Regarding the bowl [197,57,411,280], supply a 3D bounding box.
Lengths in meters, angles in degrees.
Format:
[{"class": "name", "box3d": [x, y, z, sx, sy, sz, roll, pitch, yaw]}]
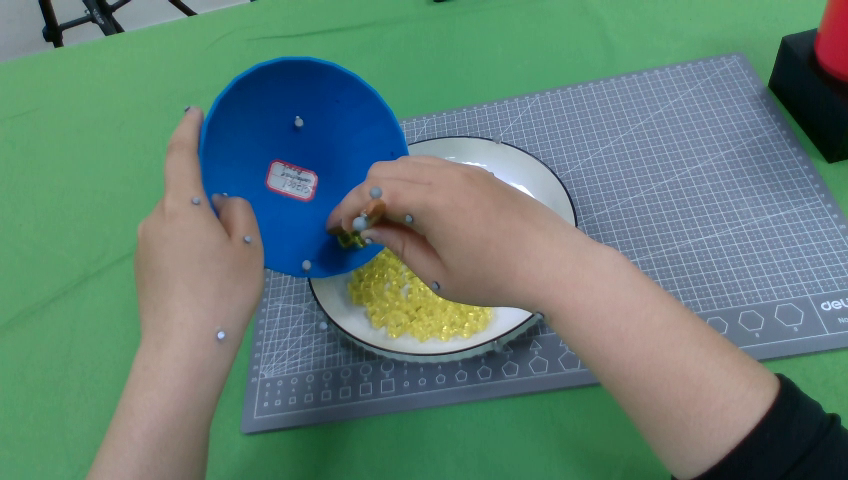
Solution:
[{"class": "bowl", "box3d": [-0.093, -0.047, 0.440, 0.151, 0.152, 0.076, -50, 23, -23]}]

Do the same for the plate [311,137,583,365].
[{"class": "plate", "box3d": [0.016, 0.005, 0.470, 0.207, 0.039, 0.205, -7, 52, 9]}]

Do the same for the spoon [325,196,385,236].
[{"class": "spoon", "box3d": [-0.038, -0.014, 0.364, 0.041, 0.022, 0.193, -37, 10, -9]}]
